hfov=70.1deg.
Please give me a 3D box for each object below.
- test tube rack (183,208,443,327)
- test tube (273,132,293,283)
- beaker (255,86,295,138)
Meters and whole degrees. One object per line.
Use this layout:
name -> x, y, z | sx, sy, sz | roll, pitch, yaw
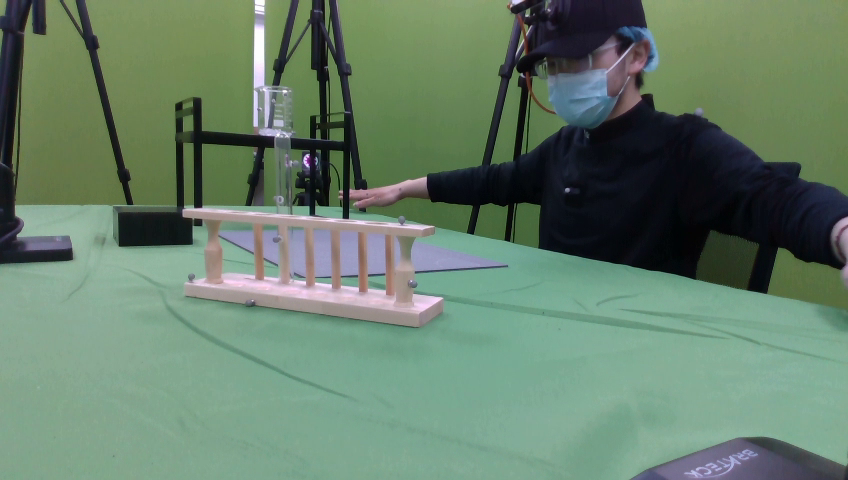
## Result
test tube rack -> -0.106, 0.019, 0.570 | 0.241, 0.085, 0.067 | 5, 8, 19
test tube -> -0.139, -0.030, 0.596 | 0.017, 0.150, 0.017 | 1, 9, 0
beaker -> -0.309, -0.263, 1.251 | 0.084, 0.100, 0.073 | -4, 9, -38
